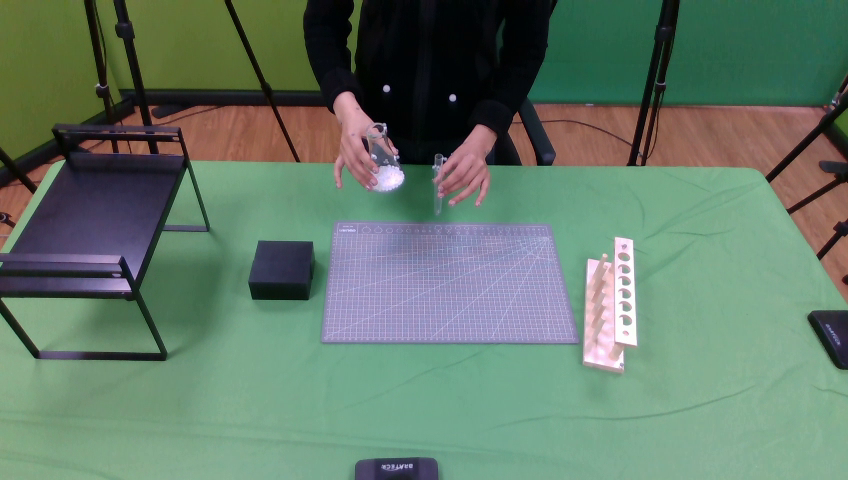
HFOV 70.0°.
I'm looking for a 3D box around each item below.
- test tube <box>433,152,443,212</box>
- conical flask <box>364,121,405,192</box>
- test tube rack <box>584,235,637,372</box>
[{"bbox_3d":[0.026,-0.106,1.144,0.017,0.151,0.017,0,50,0],"label":"test tube"},{"bbox_3d":[-0.077,-0.150,1.068,0.075,0.122,0.075,-4,48,5],"label":"conical flask"},{"bbox_3d":[0.329,0.103,1.073,0.067,0.085,0.241,11,47,7],"label":"test tube rack"}]
